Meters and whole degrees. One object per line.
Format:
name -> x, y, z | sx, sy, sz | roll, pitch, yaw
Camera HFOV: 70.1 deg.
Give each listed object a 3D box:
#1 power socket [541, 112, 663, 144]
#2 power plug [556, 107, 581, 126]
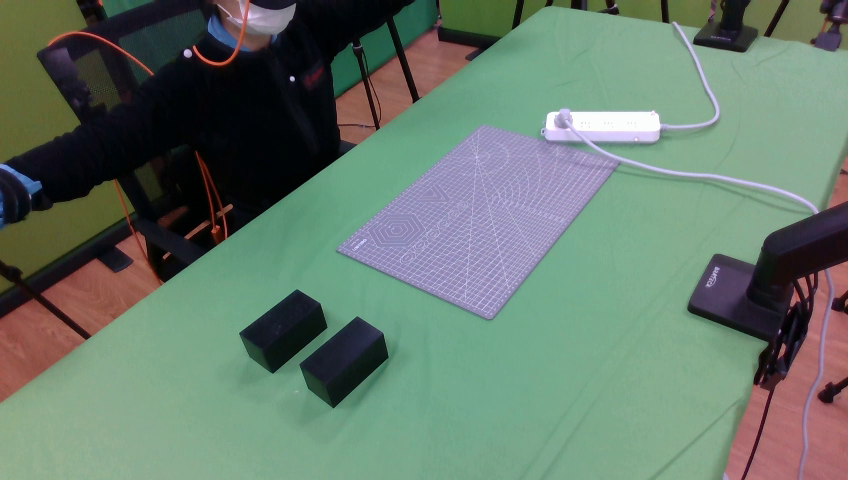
power socket -> 0.341, -0.217, 1.164 | 0.226, 0.033, 0.072 | 4, 43, 12
power plug -> 0.286, -0.238, 1.162 | 0.073, 0.035, 0.052 | -15, 30, -42
